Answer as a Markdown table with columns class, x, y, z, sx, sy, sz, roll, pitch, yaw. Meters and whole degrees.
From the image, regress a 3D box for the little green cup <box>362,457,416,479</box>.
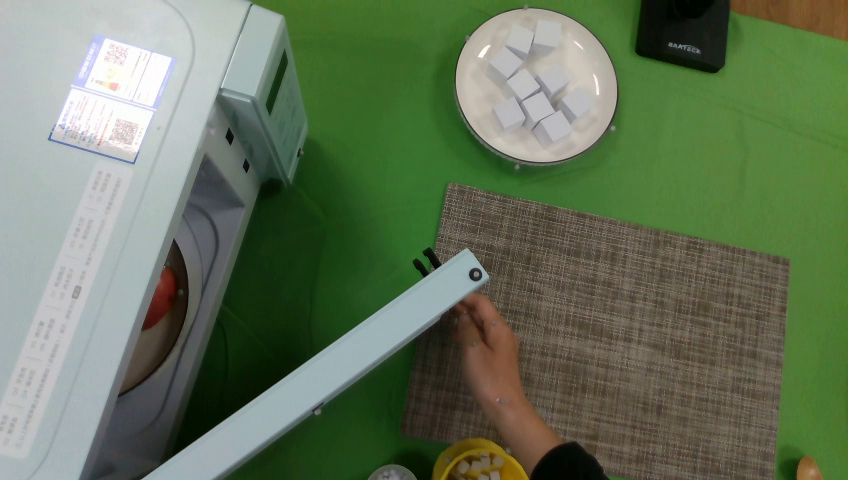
| class | x | y | z | sx | sy | sz | roll | pitch | yaw |
| --- | --- | --- | --- | --- | --- | --- | --- | --- | --- |
| little green cup | -0.039 | 0.266 | 0.657 | 0.061 | 0.039 | 0.061 | 1 | 79 | -5 |

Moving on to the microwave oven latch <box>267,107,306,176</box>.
| class | x | y | z | sx | sy | sz | roll | pitch | yaw |
| --- | --- | --- | --- | --- | --- | --- | --- | --- | --- |
| microwave oven latch | -0.159 | -0.117 | 0.697 | 0.030 | 0.029 | 0.079 | 18 | 79 | -3 |

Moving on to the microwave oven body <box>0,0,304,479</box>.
| class | x | y | z | sx | sy | sz | roll | pitch | yaw |
| --- | --- | --- | --- | --- | --- | --- | --- | --- | --- |
| microwave oven body | -0.336 | -0.007 | 0.558 | 0.326 | 0.260 | 0.440 | 16 | 79 | -4 |

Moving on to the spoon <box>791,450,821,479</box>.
| class | x | y | z | sx | sy | sz | roll | pitch | yaw |
| --- | --- | --- | --- | --- | --- | --- | --- | --- | --- |
| spoon | 0.492 | 0.333 | 0.713 | 0.041 | 0.021 | 0.193 | -33 | 84 | -29 |

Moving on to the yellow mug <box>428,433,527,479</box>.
| class | x | y | z | sx | sy | sz | roll | pitch | yaw |
| --- | --- | --- | --- | --- | --- | --- | --- | --- | --- |
| yellow mug | 0.050 | 0.279 | 0.651 | 0.100 | 0.064 | 0.130 | 24 | 81 | -1 |

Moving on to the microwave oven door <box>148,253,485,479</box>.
| class | x | y | z | sx | sy | sz | roll | pitch | yaw |
| --- | --- | --- | --- | --- | --- | --- | --- | --- | --- |
| microwave oven door | -0.113 | 0.136 | 0.552 | 0.356 | 0.244 | 0.039 | -35 | 84 | -11 |

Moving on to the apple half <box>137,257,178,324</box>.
| class | x | y | z | sx | sy | sz | roll | pitch | yaw |
| --- | --- | --- | --- | --- | --- | --- | --- | --- | --- |
| apple half | -0.291 | 0.045 | 0.601 | 0.081 | 0.033 | 0.081 | 1 | 79 | -3 |

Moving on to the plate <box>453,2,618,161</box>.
| class | x | y | z | sx | sy | sz | roll | pitch | yaw |
| --- | --- | --- | --- | --- | --- | --- | --- | --- | --- |
| plate | 0.138 | -0.196 | 0.764 | 0.208 | 0.039 | 0.206 | 1 | 79 | -6 |

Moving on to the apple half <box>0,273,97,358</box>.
| class | x | y | z | sx | sy | sz | roll | pitch | yaw |
| --- | --- | --- | --- | --- | --- | --- | --- | --- | --- |
| apple half | -0.361 | 0.074 | 0.573 | 0.081 | 0.053 | 0.074 | 27 | 88 | -15 |
